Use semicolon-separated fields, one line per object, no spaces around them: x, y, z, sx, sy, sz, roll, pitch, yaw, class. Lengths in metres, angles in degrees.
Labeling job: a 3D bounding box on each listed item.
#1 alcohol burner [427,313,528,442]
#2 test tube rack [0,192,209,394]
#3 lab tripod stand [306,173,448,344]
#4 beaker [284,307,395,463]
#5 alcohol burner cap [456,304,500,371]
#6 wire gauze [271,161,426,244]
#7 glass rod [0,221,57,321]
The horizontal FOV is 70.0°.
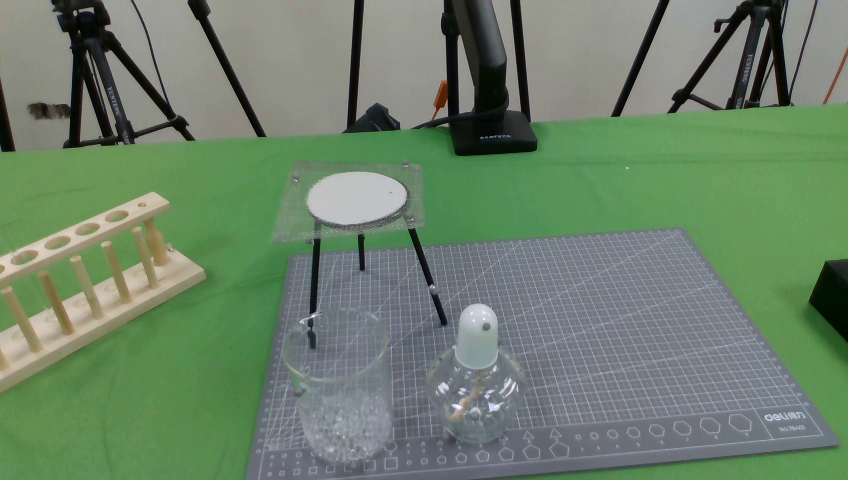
0.040;0.096;0.456;0.078;0.120;0.077;-1;37;1;alcohol burner
-0.337;0.049;0.573;0.066;0.086;0.242;26;44;34;test tube rack
-0.049;0.015;0.559;0.148;0.132;0.147;0;34;0;lab tripod stand
-0.061;0.110;0.455;0.083;0.101;0.074;24;43;33;beaker
0.040;0.067;0.436;0.034;0.048;0.033;0;37;0;alcohol burner cap
-0.060;-0.037;0.517;0.121;0.011;0.124;-2;36;-1;wire gauze
-0.373;-0.006;0.537;0.008;0.201;0.008;-6;33;4;glass rod
